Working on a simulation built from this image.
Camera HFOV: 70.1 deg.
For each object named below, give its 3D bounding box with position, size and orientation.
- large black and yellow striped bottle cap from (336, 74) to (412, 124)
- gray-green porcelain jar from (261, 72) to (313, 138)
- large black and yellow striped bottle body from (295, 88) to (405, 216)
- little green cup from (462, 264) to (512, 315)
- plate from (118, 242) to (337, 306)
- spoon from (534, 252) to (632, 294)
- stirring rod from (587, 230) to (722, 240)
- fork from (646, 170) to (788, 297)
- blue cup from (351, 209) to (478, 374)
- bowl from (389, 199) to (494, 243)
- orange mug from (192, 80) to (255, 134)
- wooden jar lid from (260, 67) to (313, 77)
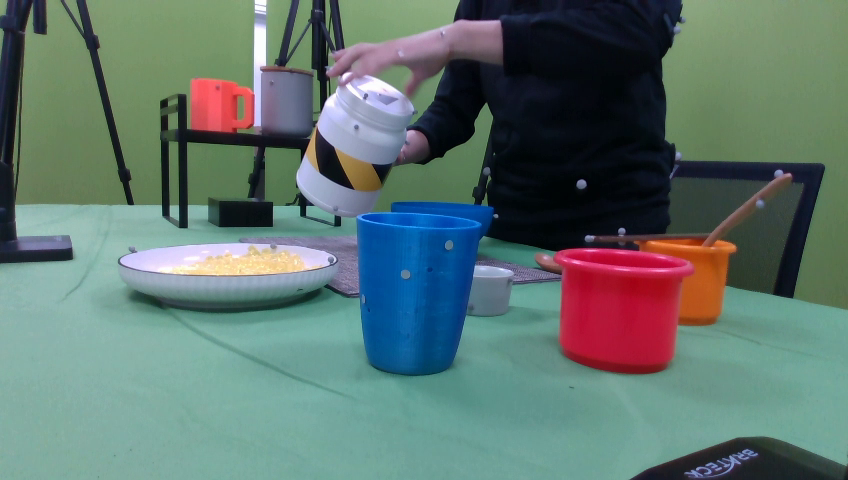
[{"bbox_3d":[-0.072,-0.207,0.881,0.115,0.019,0.115,22,29,-13],"label":"large black and yellow striped bottle cap"},{"bbox_3d":[-0.284,-0.276,1.253,0.106,0.126,0.106,2,8,0],"label":"gray-green porcelain jar"},{"bbox_3d":[-0.108,-0.144,0.924,0.131,0.183,0.130,21,31,-13],"label":"large black and yellow striped bottle body"},{"bbox_3d":[0.053,0.047,0.580,0.061,0.038,0.061,3,8,0],"label":"little green cup"},{"bbox_3d":[-0.194,0.033,0.615,0.209,0.038,0.209,2,7,0],"label":"plate"},{"bbox_3d":[0.193,0.038,0.753,0.042,0.021,0.193,14,2,-20],"label":"spoon"},{"bbox_3d":[0.227,-0.005,0.585,0.177,0.006,0.014,-2,7,-28],"label":"stirring rod"},{"bbox_3d":[0.256,0.004,0.543,0.028,0.018,0.207,3,-36,-10],"label":"fork"},{"bbox_3d":[-0.009,0.034,0.414,0.093,0.100,0.092,4,9,0],"label":"blue cup"},{"bbox_3d":[0.024,-0.015,0.872,0.151,0.077,0.151,3,7,0],"label":"bowl"},{"bbox_3d":[-0.388,-0.257,1.173,0.126,0.100,0.083,-1,7,9],"label":"orange mug"},{"bbox_3d":[-0.283,-0.339,1.245,0.108,0.020,0.108,5,8,0],"label":"wooden jar lid"}]
